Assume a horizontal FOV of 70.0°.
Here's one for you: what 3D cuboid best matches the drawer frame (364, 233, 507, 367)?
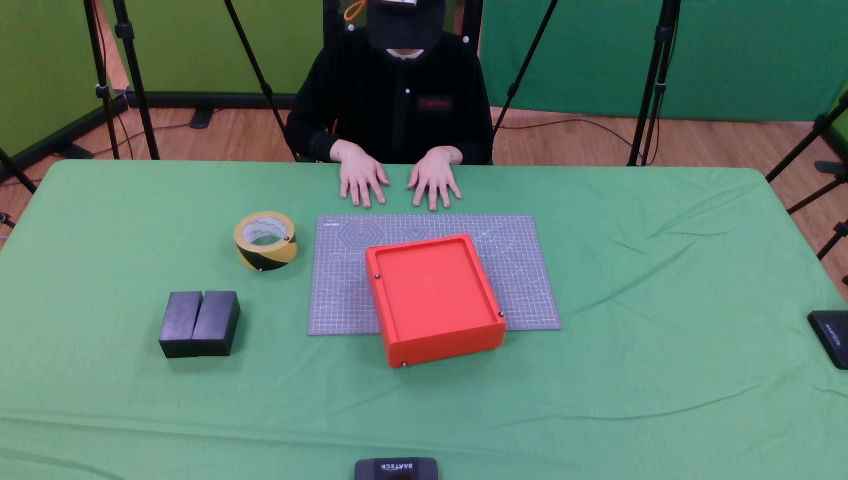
[{"bbox_3d":[0.013,0.098,1.058,0.202,0.083,0.212,-9,48,-12],"label":"drawer frame"}]

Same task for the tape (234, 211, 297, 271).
[{"bbox_3d":[-0.301,0.002,1.154,0.117,0.053,0.116,2,46,-1],"label":"tape"}]

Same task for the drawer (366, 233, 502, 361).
[{"bbox_3d":[0.012,0.095,1.063,0.195,0.073,0.210,-7,48,-12],"label":"drawer"}]
